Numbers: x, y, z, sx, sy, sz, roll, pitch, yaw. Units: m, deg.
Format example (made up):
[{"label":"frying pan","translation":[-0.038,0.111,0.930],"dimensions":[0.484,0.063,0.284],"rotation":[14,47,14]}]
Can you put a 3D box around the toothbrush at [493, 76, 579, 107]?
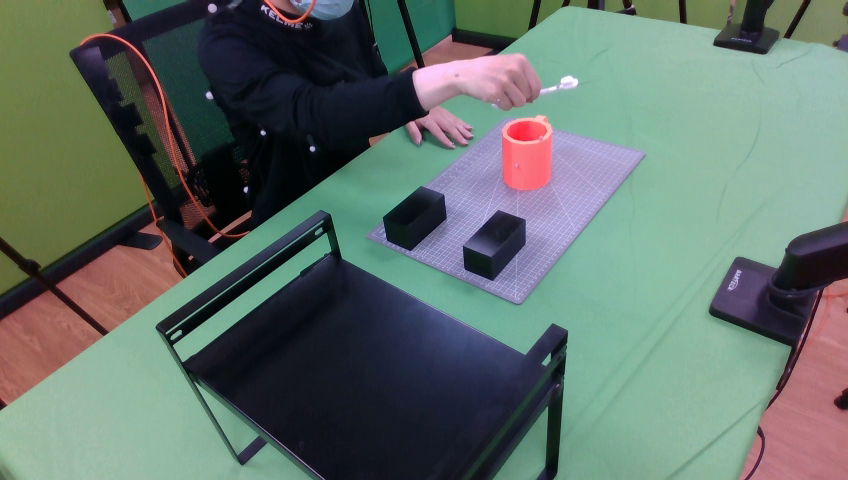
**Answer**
[{"label":"toothbrush","translation":[0.168,-0.230,0.947],"dimensions":[0.180,0.017,0.014],"rotation":[-1,71,55]}]

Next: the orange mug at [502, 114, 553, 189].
[{"label":"orange mug","translation":[0.190,-0.164,1.071],"dimensions":[0.083,0.101,0.126],"rotation":[16,50,25]}]
